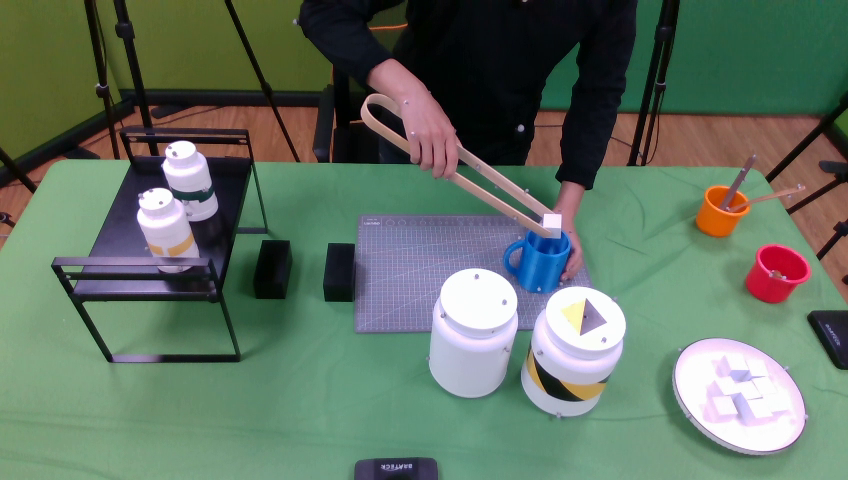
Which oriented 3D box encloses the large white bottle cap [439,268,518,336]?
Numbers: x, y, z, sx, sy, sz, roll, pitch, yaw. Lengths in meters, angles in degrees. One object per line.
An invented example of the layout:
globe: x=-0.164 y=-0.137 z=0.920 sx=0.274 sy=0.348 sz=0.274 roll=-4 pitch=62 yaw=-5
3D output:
large white bottle cap: x=0.080 y=0.089 z=0.888 sx=0.115 sy=0.018 sz=0.114 roll=2 pitch=47 yaw=-2

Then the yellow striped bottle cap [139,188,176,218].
yellow striped bottle cap: x=-0.363 y=-0.051 z=0.827 sx=0.044 sy=0.019 sz=0.044 roll=2 pitch=47 yaw=-1

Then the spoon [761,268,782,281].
spoon: x=0.638 y=0.060 z=1.105 sx=0.041 sy=0.021 sz=0.194 roll=38 pitch=11 yaw=24

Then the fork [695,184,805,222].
fork: x=0.657 y=-0.075 z=1.230 sx=0.207 sy=0.019 sz=0.028 roll=-23 pitch=34 yaw=37

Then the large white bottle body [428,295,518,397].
large white bottle body: x=0.075 y=0.147 z=0.950 sx=0.131 sy=0.185 sz=0.130 roll=2 pitch=47 yaw=-2

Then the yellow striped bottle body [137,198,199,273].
yellow striped bottle body: x=-0.366 y=-0.014 z=0.864 sx=0.063 sy=0.121 sz=0.062 roll=2 pitch=46 yaw=-2

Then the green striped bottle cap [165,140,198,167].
green striped bottle cap: x=-0.361 y=-0.128 z=0.902 sx=0.044 sy=0.020 sz=0.044 roll=3 pitch=47 yaw=-3

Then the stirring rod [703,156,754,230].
stirring rod: x=0.631 y=-0.098 z=1.258 sx=0.014 sy=0.006 sz=0.176 roll=33 pitch=95 yaw=29

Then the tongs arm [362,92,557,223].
tongs arm: x=0.062 y=-0.132 z=1.029 sx=0.385 sy=0.026 sz=0.050 roll=36 pitch=57 yaw=-7

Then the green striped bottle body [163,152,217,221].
green striped bottle body: x=-0.363 y=-0.092 z=0.939 sx=0.063 sy=0.120 sz=0.063 roll=2 pitch=46 yaw=-2

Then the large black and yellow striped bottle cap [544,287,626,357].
large black and yellow striped bottle cap: x=0.232 y=0.116 z=0.876 sx=0.115 sy=0.019 sz=0.114 roll=1 pitch=45 yaw=-1

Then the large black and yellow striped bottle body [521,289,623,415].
large black and yellow striped bottle body: x=0.228 y=0.173 z=0.937 sx=0.131 sy=0.185 sz=0.130 roll=2 pitch=47 yaw=-2

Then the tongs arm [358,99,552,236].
tongs arm: x=0.053 y=-0.115 z=1.017 sx=0.388 sy=0.028 sz=0.028 roll=32 pitch=61 yaw=-9

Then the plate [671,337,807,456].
plate: x=0.504 y=0.253 z=0.984 sx=0.208 sy=0.039 sz=0.206 roll=2 pitch=46 yaw=-2

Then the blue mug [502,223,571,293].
blue mug: x=0.202 y=0.033 z=1.120 sx=0.116 sy=0.106 sz=0.082 roll=3 pitch=47 yaw=0
